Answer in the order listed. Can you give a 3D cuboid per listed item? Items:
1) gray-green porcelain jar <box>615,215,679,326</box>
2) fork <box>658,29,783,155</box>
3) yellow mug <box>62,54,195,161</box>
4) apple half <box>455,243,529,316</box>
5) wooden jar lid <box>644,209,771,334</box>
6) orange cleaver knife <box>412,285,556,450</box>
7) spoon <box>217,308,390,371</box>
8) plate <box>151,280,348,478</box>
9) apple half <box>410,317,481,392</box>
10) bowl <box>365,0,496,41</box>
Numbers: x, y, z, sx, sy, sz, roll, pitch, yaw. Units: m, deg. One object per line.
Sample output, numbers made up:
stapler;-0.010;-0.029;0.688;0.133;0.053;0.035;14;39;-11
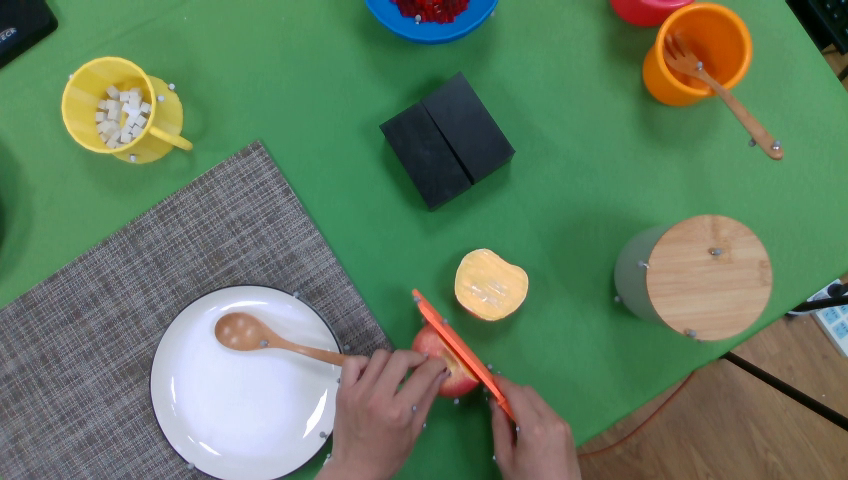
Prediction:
gray-green porcelain jar;0.249;0.029;0.589;0.106;0.126;0.105;0;89;3
fork;0.278;-0.146;0.576;0.028;0.019;0.205;-17;45;2
yellow mug;-0.305;-0.131;0.646;0.131;0.064;0.100;28;90;2
apple half;0.067;0.047;0.640;0.081;0.033;0.080;1;65;-2
wooden jar lid;0.244;0.027;0.527;0.108;0.020;0.108;0;91;1
orange cleaver knife;0.059;0.128;0.621;0.012;0.077;0.212;-41;95;1
spoon;-0.128;0.110;0.633;0.193;0.022;0.041;13;78;15
plate;-0.183;0.146;0.648;0.209;0.038;0.209;0;90;3
apple half;0.015;0.123;0.626;0.053;0.074;0.081;-40;92;7
bowl;0.008;-0.271;0.626;0.151;0.077;0.151;0;90;3
